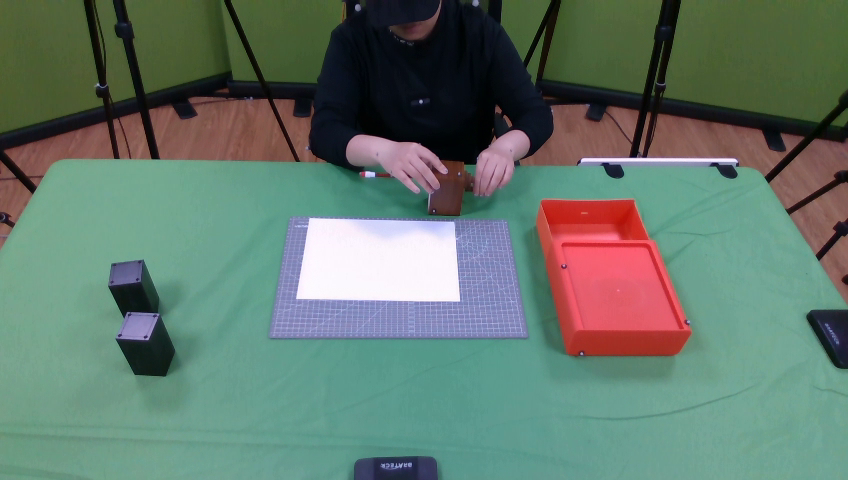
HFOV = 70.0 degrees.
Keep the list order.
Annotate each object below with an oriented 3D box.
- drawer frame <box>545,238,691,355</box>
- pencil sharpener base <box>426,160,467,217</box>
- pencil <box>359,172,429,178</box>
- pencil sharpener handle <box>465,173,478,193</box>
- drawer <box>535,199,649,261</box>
[{"bbox_3d":[0.338,0.097,1.086,0.202,0.083,0.212,0,46,-4],"label":"drawer frame"},{"bbox_3d":[0.046,-0.105,1.245,0.077,0.107,0.061,3,45,-1],"label":"pencil sharpener base"},{"bbox_3d":[-0.033,-0.129,1.225,0.194,0.012,0.012,1,45,-3],"label":"pencil"},{"bbox_3d":[0.098,-0.115,1.241,0.030,0.068,0.036,3,66,-1],"label":"pencil sharpener handle"},{"bbox_3d":[0.332,0.015,1.169,0.195,0.073,0.210,0,46,-5],"label":"drawer"}]
